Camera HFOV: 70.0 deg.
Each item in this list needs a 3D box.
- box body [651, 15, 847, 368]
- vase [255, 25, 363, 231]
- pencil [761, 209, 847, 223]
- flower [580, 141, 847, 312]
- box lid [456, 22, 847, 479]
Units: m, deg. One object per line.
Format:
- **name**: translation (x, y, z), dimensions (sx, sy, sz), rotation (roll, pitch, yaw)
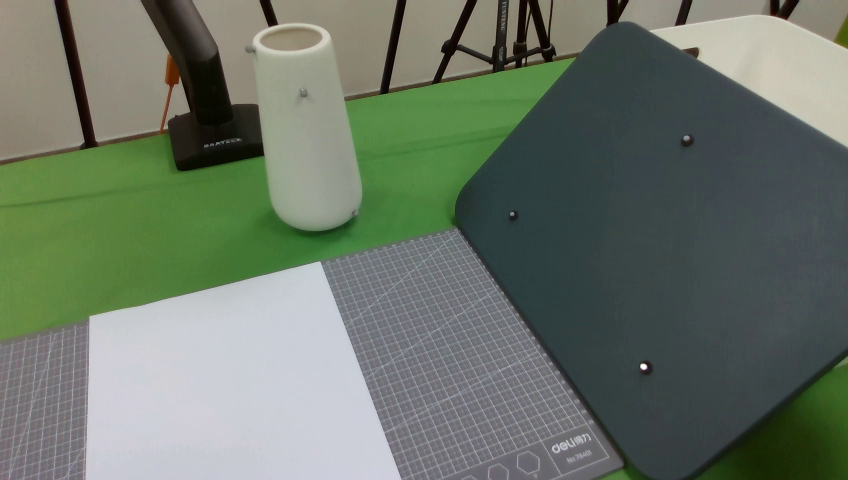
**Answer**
- **box body**: translation (0.345, -0.067, 0.593), dimensions (0.255, 0.162, 0.359), rotation (-15, 43, -16)
- **vase**: translation (-0.117, -0.106, 0.609), dimensions (0.098, 0.202, 0.097), rotation (-1, 40, 1)
- **pencil**: translation (0.379, -0.024, 0.526), dimensions (0.012, 0.012, 0.193), rotation (-19, 5, -20)
- **flower**: translation (0.312, -0.007, 0.630), dimensions (0.358, 0.038, 0.044), rotation (40, 18, 30)
- **box lid**: translation (0.182, -0.018, 0.512), dimensions (0.015, 0.263, 0.367), rotation (27, 22, -41)
